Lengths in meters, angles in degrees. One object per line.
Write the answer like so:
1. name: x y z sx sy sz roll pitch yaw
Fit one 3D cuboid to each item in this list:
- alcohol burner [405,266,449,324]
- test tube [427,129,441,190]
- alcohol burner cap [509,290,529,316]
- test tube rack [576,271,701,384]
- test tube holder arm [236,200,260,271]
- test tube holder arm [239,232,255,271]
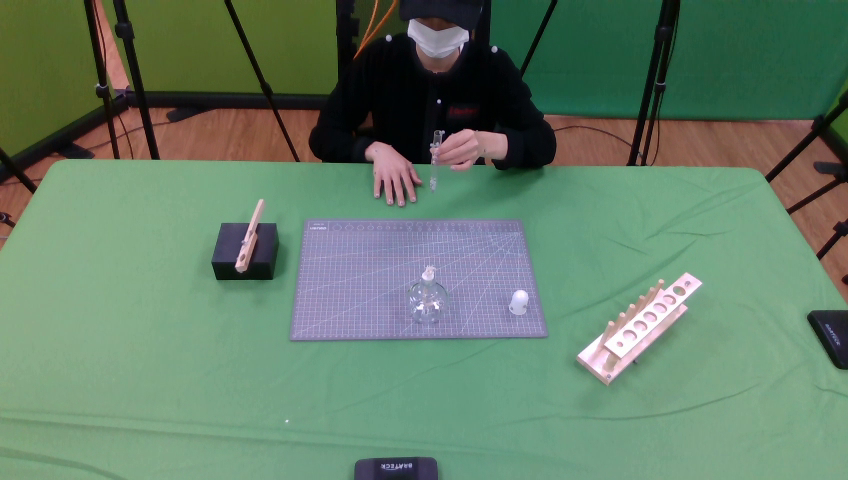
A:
1. alcohol burner: 0.005 0.089 1.043 0.078 0.120 0.077 1 45 -1
2. test tube: 0.019 -0.149 1.150 0.017 0.151 0.017 3 51 -3
3. alcohol burner cap: 0.171 0.110 1.086 0.034 0.048 0.033 2 45 -2
4. test tube rack: 0.373 0.138 1.047 0.242 0.085 0.066 -31 56 -29
5. test tube holder arm: -0.324 -0.012 1.120 0.013 0.015 0.177 0 45 -3
6. test tube holder arm: -0.317 0.020 1.089 0.010 0.015 0.087 1 45 -2
